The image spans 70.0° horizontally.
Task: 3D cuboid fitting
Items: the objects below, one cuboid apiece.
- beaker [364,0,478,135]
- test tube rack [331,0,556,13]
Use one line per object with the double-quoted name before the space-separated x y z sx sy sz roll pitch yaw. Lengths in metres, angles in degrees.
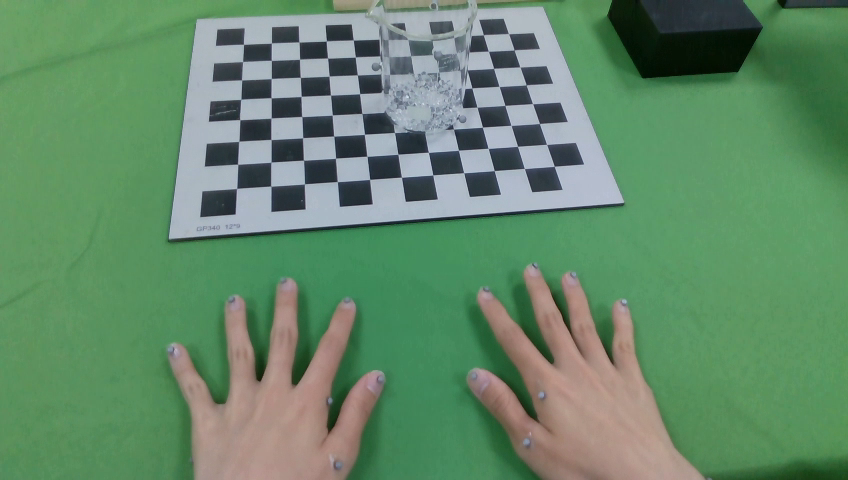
"beaker" -0.003 -0.141 0.481 0.084 0.101 0.073 -5 54 -6
"test tube rack" 0.025 -0.289 0.602 0.243 0.086 0.066 -6 55 -8
